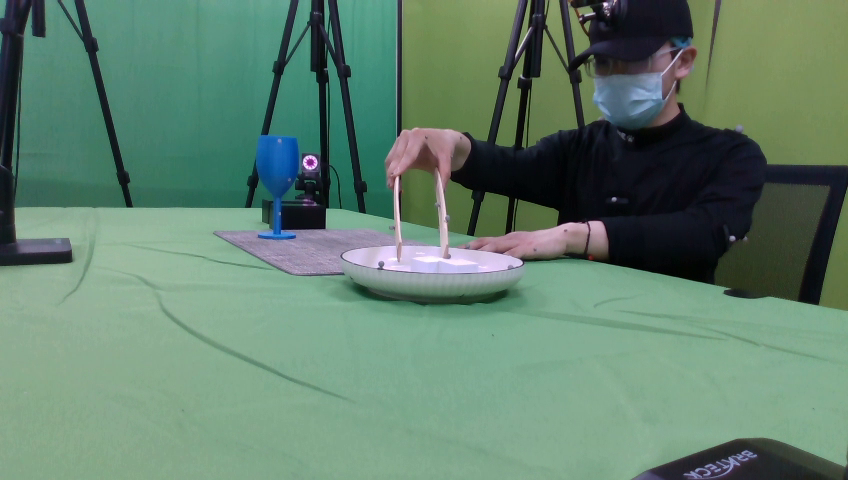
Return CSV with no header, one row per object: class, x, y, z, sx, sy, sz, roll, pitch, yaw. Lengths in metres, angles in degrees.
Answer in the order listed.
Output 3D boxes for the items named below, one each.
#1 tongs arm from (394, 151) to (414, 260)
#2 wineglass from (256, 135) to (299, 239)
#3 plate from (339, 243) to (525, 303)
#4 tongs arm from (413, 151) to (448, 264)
tongs arm,-0.027,-0.063,0.829,0.028,0.028,0.387,2,23,-2
wineglass,-0.252,-0.091,1.035,0.074,0.172,0.073,2,7,0
plate,0.008,0.035,0.682,0.209,0.038,0.209,3,7,0
tongs arm,0.004,-0.060,0.831,0.051,0.026,0.384,6,22,-1
